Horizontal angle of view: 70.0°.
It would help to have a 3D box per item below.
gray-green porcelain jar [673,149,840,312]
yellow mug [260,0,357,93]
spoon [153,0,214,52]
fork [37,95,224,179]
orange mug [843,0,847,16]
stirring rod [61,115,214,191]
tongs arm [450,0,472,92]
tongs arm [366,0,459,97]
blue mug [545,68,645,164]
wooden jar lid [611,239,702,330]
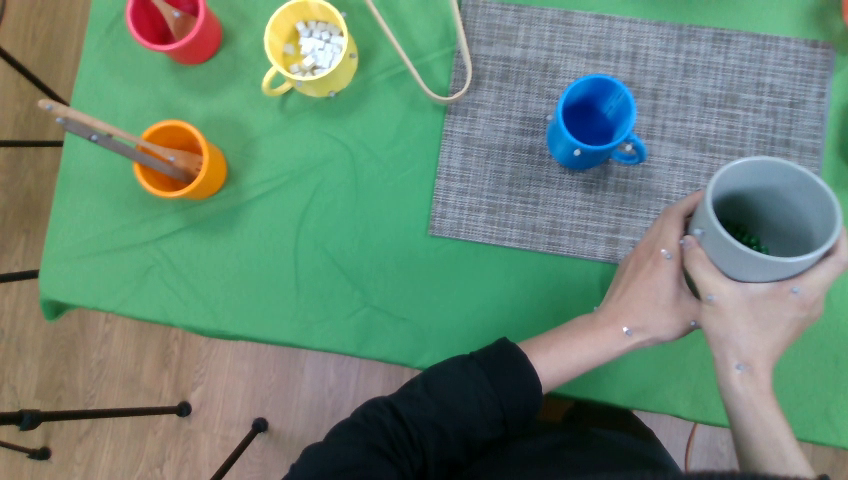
[{"bbox_3d":[0.289,-0.001,0.547,0.106,0.127,0.105,-3,59,5],"label":"gray-green porcelain jar"},{"bbox_3d":[-0.149,-0.228,0.741,0.131,0.064,0.100,-43,85,2],"label":"yellow mug"},{"bbox_3d":[-0.332,-0.301,0.719,0.041,0.021,0.196,-47,128,-1],"label":"spoon"},{"bbox_3d":[-0.333,-0.118,0.705,0.209,0.018,0.028,23,87,-39],"label":"fork"},{"bbox_3d":[0.535,-0.276,0.680,0.083,0.101,0.126,32,85,6],"label":"orange mug"},{"bbox_3d":[-0.328,-0.098,0.707,0.006,0.178,0.014,-3,67,47],"label":"stirring rod"},{"bbox_3d":[0.004,-0.373,0.735,0.028,0.027,0.387,-16,93,-5],"label":"tongs arm"},{"bbox_3d":[-0.073,-0.338,0.736,0.051,0.026,0.385,-30,92,-1],"label":"tongs arm"},{"bbox_3d":[0.198,-0.128,0.688,0.116,0.106,0.082,34,89,5],"label":"blue mug"},{"bbox_3d":[0.276,0.053,0.719,0.108,0.021,0.108,0,90,6],"label":"wooden jar lid"}]
